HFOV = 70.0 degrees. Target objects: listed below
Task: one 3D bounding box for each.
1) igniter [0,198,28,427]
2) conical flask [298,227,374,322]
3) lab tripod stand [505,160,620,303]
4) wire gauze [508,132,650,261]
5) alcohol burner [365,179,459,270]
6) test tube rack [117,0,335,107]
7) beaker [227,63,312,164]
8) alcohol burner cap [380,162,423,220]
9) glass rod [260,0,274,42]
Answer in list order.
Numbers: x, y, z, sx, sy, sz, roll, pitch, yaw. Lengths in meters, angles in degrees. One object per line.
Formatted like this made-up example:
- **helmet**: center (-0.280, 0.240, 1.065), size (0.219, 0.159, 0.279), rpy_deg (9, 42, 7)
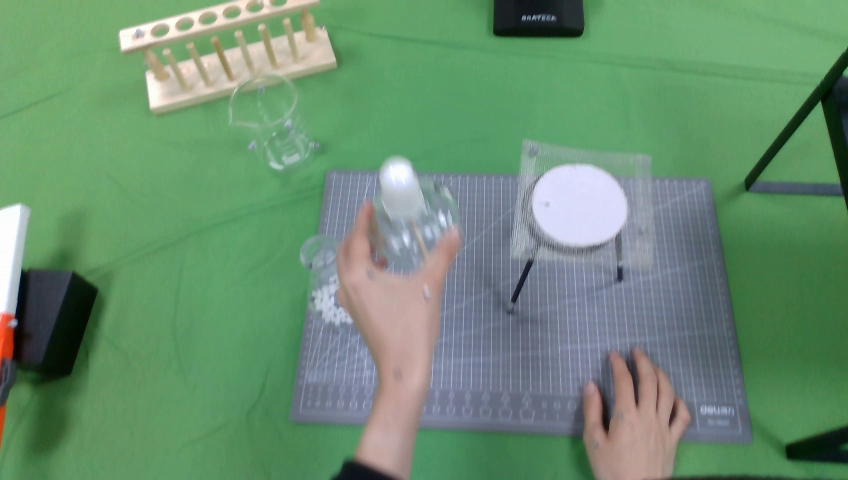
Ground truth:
- **igniter**: center (-0.425, 0.082, 0.598), size (0.057, 0.025, 0.274), rpy_deg (-14, 64, 8)
- **conical flask**: center (-0.094, 0.030, 0.605), size (0.075, 0.123, 0.074), rpy_deg (-1, 64, 3)
- **lab tripod stand**: center (0.138, -0.008, 0.606), size (0.148, 0.132, 0.147), rpy_deg (0, 63, 1)
- **wire gauze**: center (0.142, -0.041, 0.547), size (0.121, 0.011, 0.124), rpy_deg (7, 66, 4)
- **alcohol burner**: center (-0.012, -0.022, 0.483), size (0.078, 0.120, 0.077), rpy_deg (-4, 63, 8)
- **test tube rack**: center (-0.244, -0.250, 0.765), size (0.242, 0.086, 0.066), rpy_deg (-16, 65, -5)
- **beaker**: center (-0.176, -0.140, 0.703), size (0.084, 0.101, 0.073), rpy_deg (-37, 68, -14)
- **alcohol burner cap**: center (-0.018, -0.039, 0.451), size (0.034, 0.048, 0.033), rpy_deg (-1, 65, 1)
- **glass rod**: center (-0.197, -0.309, 0.717), size (0.008, 0.201, 0.008), rpy_deg (1, 63, -2)
